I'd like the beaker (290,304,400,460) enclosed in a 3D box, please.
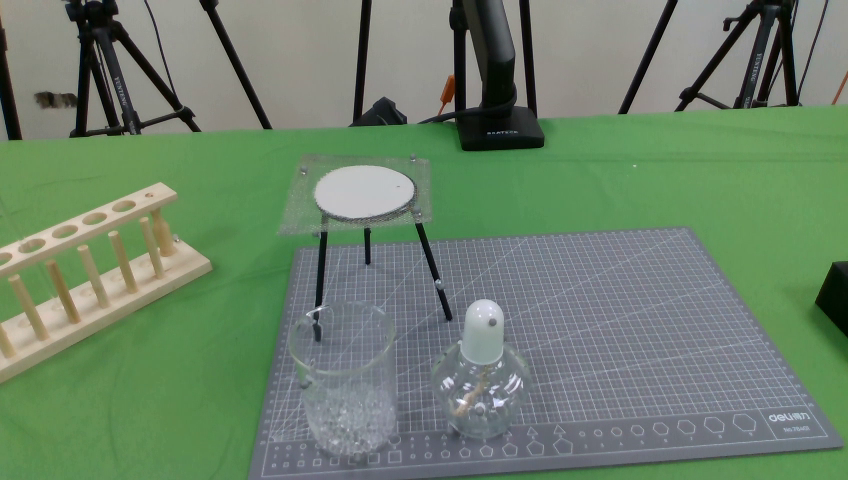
[{"bbox_3d":[-0.057,0.108,0.455,0.083,0.101,0.074,26,43,33],"label":"beaker"}]

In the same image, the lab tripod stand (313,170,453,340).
[{"bbox_3d":[-0.044,0.013,0.559,0.148,0.132,0.147,0,34,0],"label":"lab tripod stand"}]

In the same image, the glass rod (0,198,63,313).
[{"bbox_3d":[-0.368,-0.013,0.538,0.008,0.201,0.008,-5,33,4],"label":"glass rod"}]

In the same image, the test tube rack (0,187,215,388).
[{"bbox_3d":[-0.331,0.042,0.574,0.066,0.086,0.242,27,44,34],"label":"test tube rack"}]

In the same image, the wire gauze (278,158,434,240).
[{"bbox_3d":[-0.054,-0.040,0.517,0.121,0.011,0.124,-1,36,-1],"label":"wire gauze"}]

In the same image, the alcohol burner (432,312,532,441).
[{"bbox_3d":[0.044,0.095,0.456,0.078,0.120,0.077,0,38,1],"label":"alcohol burner"}]

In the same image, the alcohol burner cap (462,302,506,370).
[{"bbox_3d":[0.044,0.066,0.435,0.034,0.048,0.033,1,37,0],"label":"alcohol burner cap"}]
